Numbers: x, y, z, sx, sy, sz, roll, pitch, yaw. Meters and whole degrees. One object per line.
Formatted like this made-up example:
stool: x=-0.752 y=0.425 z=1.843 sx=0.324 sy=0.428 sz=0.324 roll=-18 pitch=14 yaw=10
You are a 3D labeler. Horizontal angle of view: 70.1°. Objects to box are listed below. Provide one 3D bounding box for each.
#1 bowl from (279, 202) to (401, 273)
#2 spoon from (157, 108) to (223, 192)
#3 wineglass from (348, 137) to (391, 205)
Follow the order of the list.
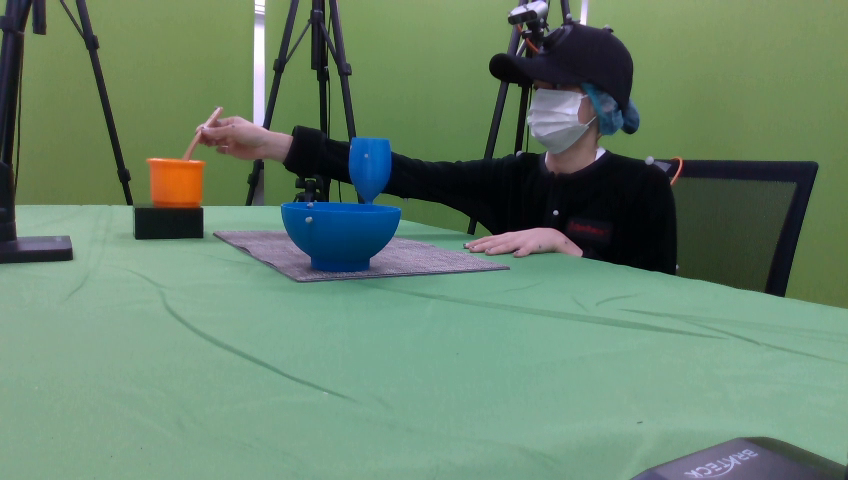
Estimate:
bowl: x=-0.105 y=-0.003 z=0.756 sx=0.151 sy=0.077 sz=0.151 roll=3 pitch=7 yaw=0
spoon: x=-0.390 y=-0.155 z=1.023 sx=0.041 sy=0.193 sz=0.022 roll=10 pitch=-27 yaw=24
wineglass: x=-0.092 y=-0.081 z=0.997 sx=0.074 sy=0.172 sz=0.073 roll=3 pitch=7 yaw=0
